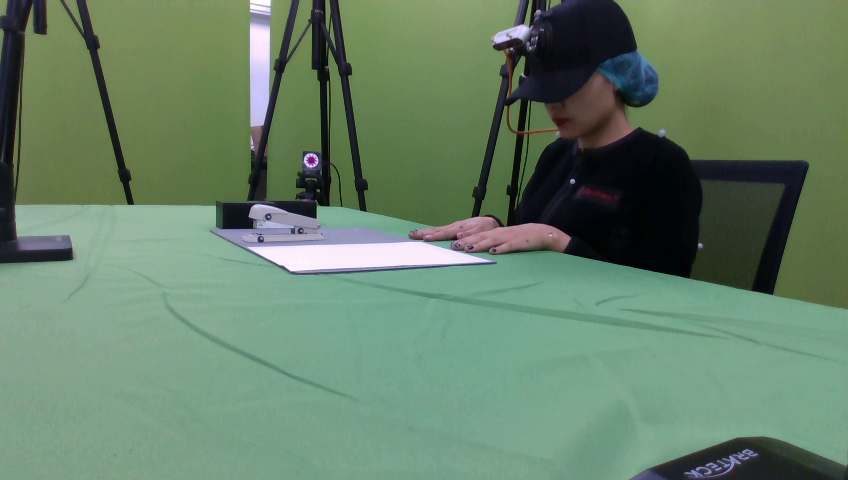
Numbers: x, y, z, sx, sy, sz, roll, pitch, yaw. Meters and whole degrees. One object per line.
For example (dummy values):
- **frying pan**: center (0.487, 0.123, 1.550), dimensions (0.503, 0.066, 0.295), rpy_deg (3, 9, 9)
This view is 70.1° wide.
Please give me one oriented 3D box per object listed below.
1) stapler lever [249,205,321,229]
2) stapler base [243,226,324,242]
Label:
- **stapler lever**: center (-0.228, -0.037, 0.994), dimensions (0.119, 0.040, 0.026), rpy_deg (-1, 10, -36)
- **stapler base**: center (-0.230, -0.012, 0.996), dimensions (0.131, 0.024, 0.041), rpy_deg (-1, 10, -36)
